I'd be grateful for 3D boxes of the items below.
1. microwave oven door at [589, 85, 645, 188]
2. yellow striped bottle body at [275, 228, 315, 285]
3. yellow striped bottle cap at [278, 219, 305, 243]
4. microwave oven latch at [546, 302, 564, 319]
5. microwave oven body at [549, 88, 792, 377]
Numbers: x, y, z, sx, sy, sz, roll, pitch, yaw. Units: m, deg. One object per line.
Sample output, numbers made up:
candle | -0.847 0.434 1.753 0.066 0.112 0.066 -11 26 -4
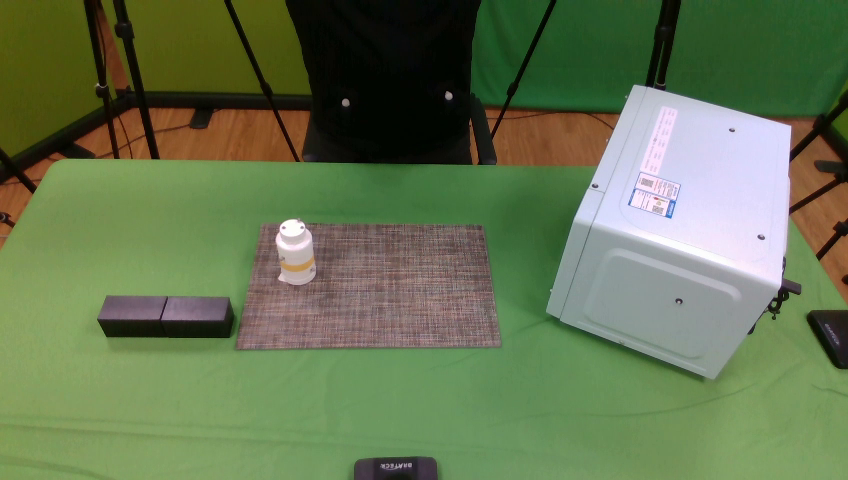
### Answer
microwave oven door | 0.341 -0.107 1.149 0.039 0.245 0.354 20 48 15
yellow striped bottle body | -0.231 0.021 1.085 0.063 0.121 0.062 2 46 -2
yellow striped bottle cap | -0.229 -0.016 1.047 0.044 0.019 0.044 3 44 -3
microwave oven latch | 0.242 0.102 1.081 0.030 0.029 0.079 22 48 17
microwave oven body | 0.456 -0.028 1.088 0.325 0.261 0.440 20 47 16
